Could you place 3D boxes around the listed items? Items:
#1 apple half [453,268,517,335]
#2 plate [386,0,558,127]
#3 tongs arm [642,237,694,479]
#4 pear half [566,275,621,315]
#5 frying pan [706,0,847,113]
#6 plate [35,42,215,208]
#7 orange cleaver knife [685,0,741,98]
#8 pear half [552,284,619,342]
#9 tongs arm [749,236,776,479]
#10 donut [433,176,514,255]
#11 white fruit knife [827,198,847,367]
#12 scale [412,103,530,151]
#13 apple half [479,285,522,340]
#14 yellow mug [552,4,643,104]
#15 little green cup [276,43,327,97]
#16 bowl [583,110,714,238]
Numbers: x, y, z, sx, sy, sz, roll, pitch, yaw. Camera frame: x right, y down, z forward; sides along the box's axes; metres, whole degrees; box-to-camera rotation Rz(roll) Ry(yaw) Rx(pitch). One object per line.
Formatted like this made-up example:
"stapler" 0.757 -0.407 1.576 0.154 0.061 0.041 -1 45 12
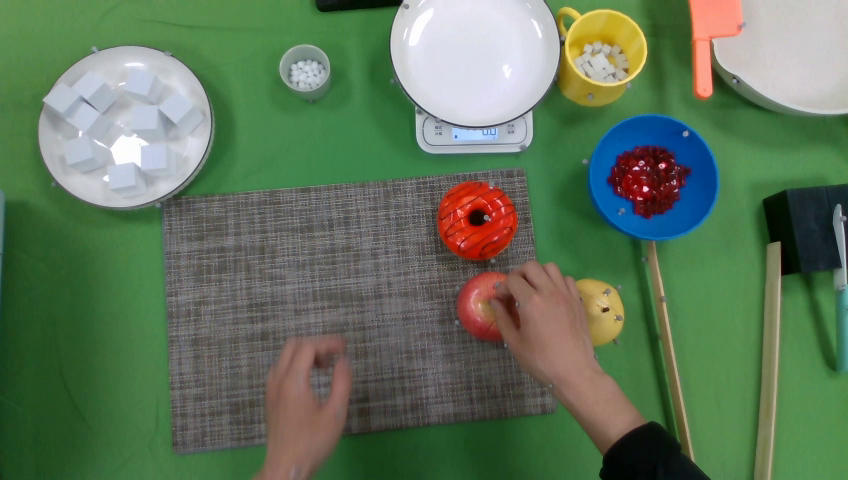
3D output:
"apple half" 0.063 0.065 0.702 0.053 0.075 0.081 36 86 6
"plate" 0.058 -0.235 0.741 0.209 0.038 0.208 0 81 -2
"tongs arm" 0.312 0.183 0.718 0.051 0.026 0.383 -5 82 -8
"pear half" 0.201 0.059 0.705 0.070 0.088 0.031 25 81 5
"frying pan" 0.535 -0.211 0.751 0.307 0.103 0.485 -32 76 -5
"plate" -0.358 -0.137 0.741 0.208 0.039 0.207 0 81 -2
"orange cleaver knife" 0.345 -0.275 0.736 0.077 0.012 0.210 -1 82 0
"pear half" 0.183 0.088 0.690 0.076 0.110 0.056 25 81 6
"tongs arm" 0.397 0.184 0.725 0.028 0.028 0.386 11 81 -9
"donut" 0.059 -0.029 0.733 0.099 0.048 0.098 0 82 0
"white fruit knife" 0.491 0.054 0.722 0.016 0.027 0.207 -8 96 -3
"scale" 0.058 -0.214 0.771 0.149 0.031 0.200 -1 82 -2
"apple half" 0.094 0.088 0.702 0.032 0.082 0.081 30 81 12
"yellow mug" 0.205 -0.243 0.763 0.100 0.064 0.130 -38 83 -6
"little green cup" -0.150 -0.211 0.760 0.061 0.039 0.061 0 81 -1
"bowl" 0.259 -0.072 0.733 0.151 0.077 0.151 0 82 -2
